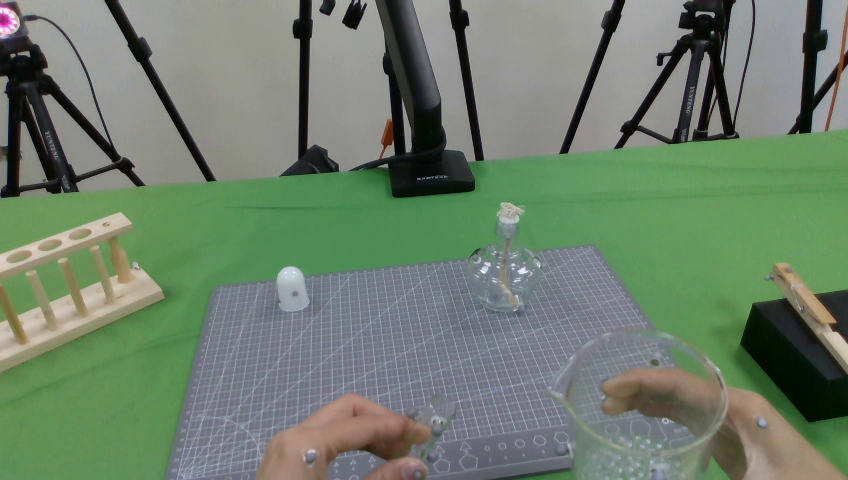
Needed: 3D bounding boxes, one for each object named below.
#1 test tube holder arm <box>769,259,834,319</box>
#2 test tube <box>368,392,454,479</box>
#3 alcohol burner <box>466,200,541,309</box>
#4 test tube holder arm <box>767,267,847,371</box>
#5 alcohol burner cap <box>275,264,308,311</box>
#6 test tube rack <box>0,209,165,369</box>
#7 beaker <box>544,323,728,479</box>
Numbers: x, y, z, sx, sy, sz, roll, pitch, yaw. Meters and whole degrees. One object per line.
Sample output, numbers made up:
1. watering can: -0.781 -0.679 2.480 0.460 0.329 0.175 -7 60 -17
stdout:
1. test tube holder arm: 0.340 0.045 0.548 0.015 0.010 0.087 0 33 1
2. test tube: -0.023 0.139 0.347 0.017 0.151 0.017 23 30 -14
3. alcohol burner: 0.082 0.011 0.620 0.078 0.120 0.077 0 33 0
4. test tube holder arm: 0.339 0.074 0.514 0.015 0.013 0.177 0 33 1
5. alcohol burner cap: -0.142 0.047 0.642 0.034 0.048 0.033 -2 33 1
6. test tube rack: -0.399 0.060 0.600 0.242 0.086 0.066 -28 41 -34
7. beaker: 0.108 0.105 0.319 0.084 0.101 0.073 -2 39 14
